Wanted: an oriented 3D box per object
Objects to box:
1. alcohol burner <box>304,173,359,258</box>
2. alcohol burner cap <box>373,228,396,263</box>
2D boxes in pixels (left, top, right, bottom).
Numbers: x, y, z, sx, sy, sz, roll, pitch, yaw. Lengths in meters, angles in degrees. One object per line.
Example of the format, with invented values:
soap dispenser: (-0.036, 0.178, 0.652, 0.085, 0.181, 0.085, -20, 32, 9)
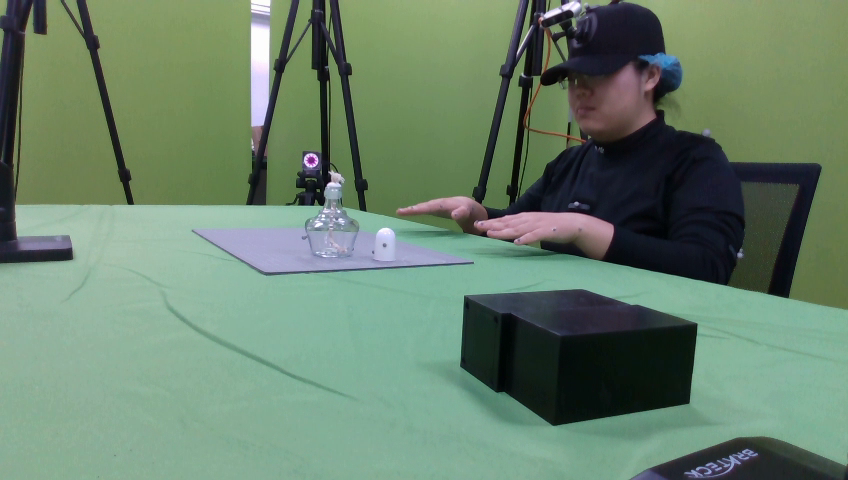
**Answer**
alcohol burner: (-0.129, -0.035, 0.852, 0.078, 0.119, 0.078, 2, 5, 0)
alcohol burner cap: (-0.054, 0.007, 0.836, 0.034, 0.048, 0.034, 3, 7, 0)
